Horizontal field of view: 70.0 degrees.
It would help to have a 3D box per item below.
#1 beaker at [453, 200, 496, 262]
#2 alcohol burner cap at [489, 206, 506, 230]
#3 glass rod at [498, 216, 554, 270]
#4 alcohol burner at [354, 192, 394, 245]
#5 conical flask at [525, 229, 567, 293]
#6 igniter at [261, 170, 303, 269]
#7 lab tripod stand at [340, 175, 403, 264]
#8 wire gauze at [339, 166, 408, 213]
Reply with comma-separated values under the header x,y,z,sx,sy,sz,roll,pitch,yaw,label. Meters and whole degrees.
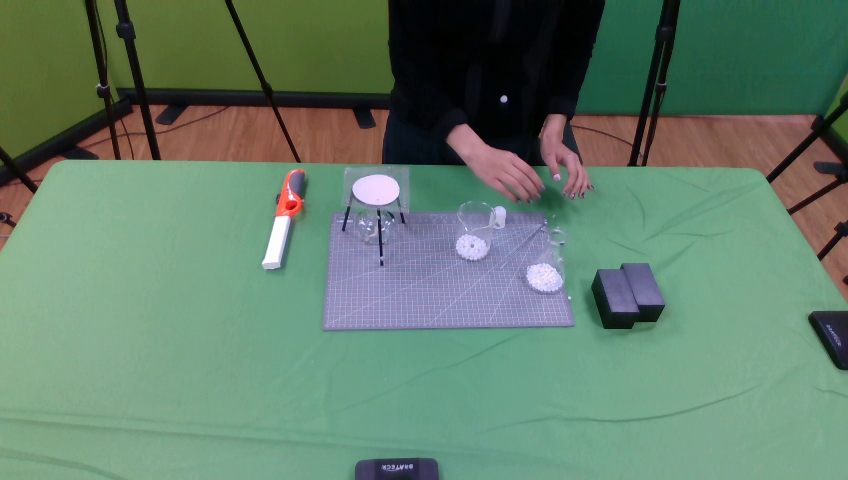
x,y,z,sx,sy,sz,roll,pitch,yaw,label
0.094,-0.012,1.162,0.074,0.101,0.083,17,48,12,beaker
0.152,-0.047,1.241,0.034,0.048,0.033,2,45,-2,alcohol burner cap
0.208,0.002,1.219,0.008,0.008,0.199,32,52,25,glass rod
-0.096,-0.048,1.171,0.078,0.119,0.077,4,45,-4,alcohol burner
0.231,0.036,1.110,0.075,0.122,0.075,2,46,-2,conical flask
-0.283,-0.050,1.222,0.057,0.025,0.275,-5,45,6,igniter
-0.093,-0.050,1.160,0.148,0.132,0.147,2,44,-2,lab tripod stand
-0.091,-0.096,1.110,0.125,0.011,0.120,2,44,-3,wire gauze
